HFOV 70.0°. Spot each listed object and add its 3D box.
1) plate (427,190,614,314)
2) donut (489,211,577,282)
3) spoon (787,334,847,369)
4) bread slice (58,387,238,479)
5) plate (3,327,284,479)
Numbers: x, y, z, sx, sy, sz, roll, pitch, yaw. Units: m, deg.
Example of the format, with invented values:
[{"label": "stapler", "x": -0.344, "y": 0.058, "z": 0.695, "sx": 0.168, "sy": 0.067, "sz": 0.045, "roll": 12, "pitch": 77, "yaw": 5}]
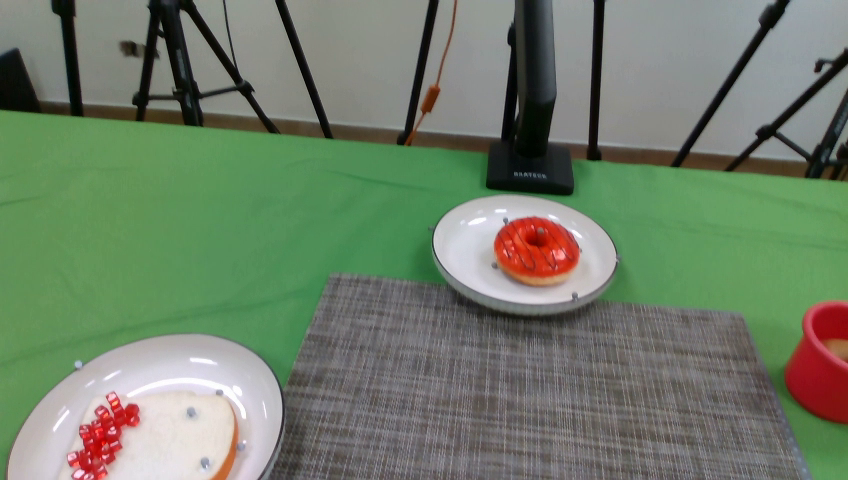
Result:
[{"label": "plate", "x": 0.106, "y": 0.014, "z": 0.687, "sx": 0.208, "sy": 0.039, "sz": 0.205, "roll": 2, "pitch": 37, "yaw": -1}, {"label": "donut", "x": 0.121, "y": 0.007, "z": 0.678, "sx": 0.099, "sy": 0.048, "sz": 0.098, "roll": 2, "pitch": 40, "yaw": -2}, {"label": "spoon", "x": 0.416, "y": 0.087, "z": 0.523, "sx": 0.193, "sy": 0.022, "sz": 0.041, "roll": -19, "pitch": 17, "yaw": 42}, {"label": "bread slice", "x": -0.219, "y": 0.163, "z": 0.493, "sx": 0.132, "sy": 0.019, "sz": 0.104, "roll": -3, "pitch": 40, "yaw": -5}, {"label": "plate", "x": -0.218, "y": 0.159, "z": 0.494, "sx": 0.209, "sy": 0.038, "sz": 0.207, "roll": 1, "pitch": 39, "yaw": -1}]
